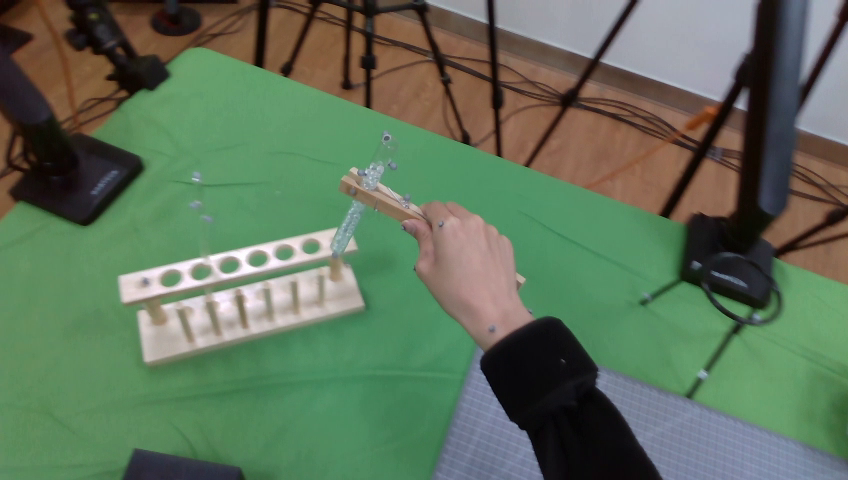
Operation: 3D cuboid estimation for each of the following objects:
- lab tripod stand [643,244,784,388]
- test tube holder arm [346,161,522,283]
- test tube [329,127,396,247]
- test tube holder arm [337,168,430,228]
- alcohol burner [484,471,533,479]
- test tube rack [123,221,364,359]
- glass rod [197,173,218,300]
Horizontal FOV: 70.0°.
[{"bbox_3d":[0.337,0.082,0.701,0.148,0.132,0.147,4,56,-6],"label":"lab tripod stand"},{"bbox_3d":[0.007,-0.016,0.521,0.178,0.015,0.013,32,45,7],"label":"test tube holder arm"},{"bbox_3d":[-0.058,-0.041,0.536,0.017,0.151,0.017,16,47,-17],"label":"test tube"},{"bbox_3d":[-0.034,-0.036,0.521,0.088,0.015,0.010,27,44,2],"label":"test tube holder arm"},{"bbox_3d":[0.084,0.248,0.557,0.078,0.120,0.077,5,54,-7],"label":"alcohol burner"},{"bbox_3d":[-0.191,0.054,0.676,0.243,0.086,0.066,-13,58,-17],"label":"test tube rack"},{"bbox_3d":[-0.222,0.008,0.623,0.008,0.201,0.008,7,46,-7],"label":"glass rod"}]
